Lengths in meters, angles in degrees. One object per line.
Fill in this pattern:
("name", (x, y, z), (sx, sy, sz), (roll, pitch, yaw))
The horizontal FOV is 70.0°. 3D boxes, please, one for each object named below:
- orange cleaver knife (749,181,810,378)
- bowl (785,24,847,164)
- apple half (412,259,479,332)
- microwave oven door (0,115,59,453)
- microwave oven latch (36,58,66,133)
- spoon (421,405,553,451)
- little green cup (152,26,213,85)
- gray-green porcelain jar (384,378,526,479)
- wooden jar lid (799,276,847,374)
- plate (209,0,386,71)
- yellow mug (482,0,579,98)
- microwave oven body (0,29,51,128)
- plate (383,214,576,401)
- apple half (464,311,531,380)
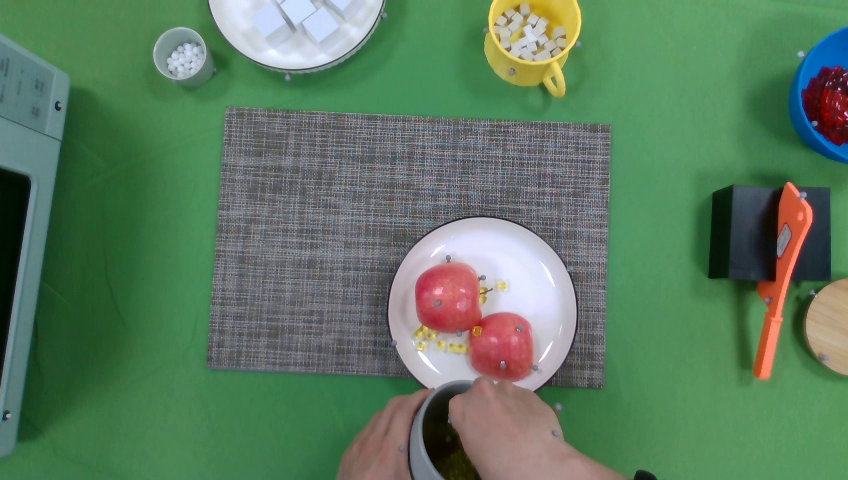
("orange cleaver knife", (0.371, 0.045, 0.648), (0.012, 0.077, 0.212), (4, 110, 5))
("bowl", (0.460, -0.150, 0.662), (0.151, 0.077, 0.151), (0, 86, 2))
("apple half", (0.023, 0.060, 0.657), (0.074, 0.053, 0.080), (0, 86, 4))
("microwave oven door", (-0.456, 0.045, 0.566), (0.039, 0.244, 0.355), (6, 86, 2))
("microwave oven latch", (-0.428, -0.164, 0.683), (0.030, 0.029, 0.079), (10, 87, 1))
("spoon", (0.047, 0.171, 0.555), (0.042, 0.194, 0.021), (-9, 70, -38))
("little green cup", (-0.276, -0.210, 0.700), (0.061, 0.038, 0.061), (0, 86, 0))
("gray-green porcelain jar", (0.023, 0.207, 0.578), (0.106, 0.127, 0.105), (12, 50, -14))
("wooden jar lid", (0.470, 0.094, 0.673), (0.108, 0.021, 0.108), (0, 86, 3))
("plate", (-0.144, -0.295, 0.706), (0.207, 0.039, 0.207), (0, 86, 1))
("yellow mug", (0.124, -0.220, 0.681), (0.100, 0.064, 0.130), (-26, 86, -1))
("microwave oven body", (-0.597, -0.012, 0.578), (0.326, 0.260, 0.441), (6, 86, 1))
("plate", (0.060, 0.075, 0.670), (0.209, 0.038, 0.208), (0, 86, 1))
("apple half", (0.082, 0.116, 0.660), (0.081, 0.033, 0.081), (0, 82, 1))
